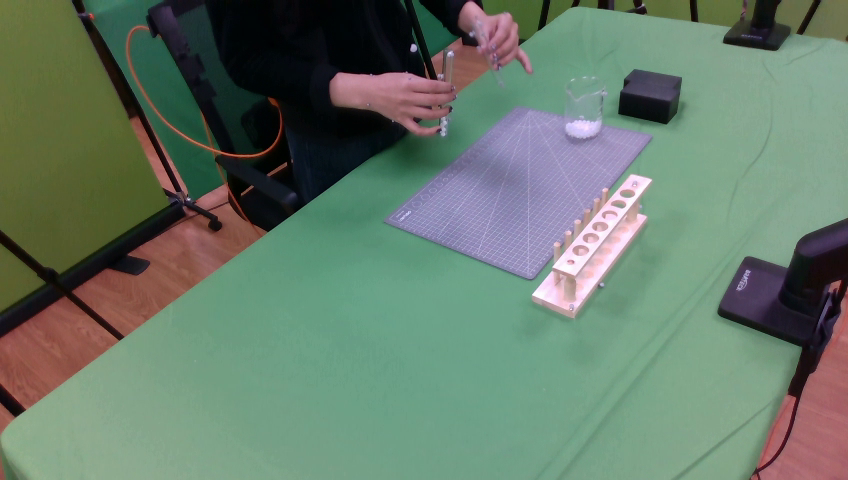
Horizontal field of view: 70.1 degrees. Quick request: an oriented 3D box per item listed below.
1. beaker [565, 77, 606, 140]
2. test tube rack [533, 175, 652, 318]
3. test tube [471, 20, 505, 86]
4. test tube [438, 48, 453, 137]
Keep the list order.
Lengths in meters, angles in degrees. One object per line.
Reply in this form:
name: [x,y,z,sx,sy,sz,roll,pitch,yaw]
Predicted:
beaker: [0.304,-0.247,1.153,0.073,0.101,0.084,15,47,27]
test tube rack: [0.250,-0.001,0.889,0.066,0.085,0.243,22,49,33]
test tube: [0.109,-0.309,1.010,0.017,0.151,0.017,-11,61,20]
test tube: [0.035,-0.241,1.001,0.017,0.151,0.017,3,33,-1]
